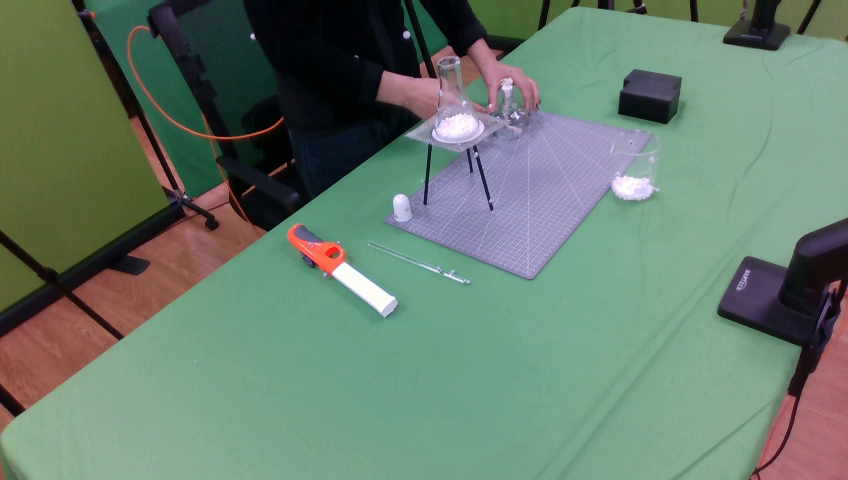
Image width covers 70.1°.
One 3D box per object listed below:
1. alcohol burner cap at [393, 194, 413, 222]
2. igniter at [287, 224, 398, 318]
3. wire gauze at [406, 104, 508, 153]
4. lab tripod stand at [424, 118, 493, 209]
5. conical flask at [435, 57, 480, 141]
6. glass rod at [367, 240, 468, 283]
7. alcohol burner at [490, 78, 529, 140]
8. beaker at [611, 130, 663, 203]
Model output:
[{"bbox_3d":[-0.039,-0.057,1.038,0.034,0.048,0.033,-6,40,5],"label":"alcohol burner cap"},{"bbox_3d":[-0.139,0.042,0.958,0.057,0.025,0.274,-42,49,-19],"label":"igniter"},{"bbox_3d":[0.054,-0.183,0.997,0.120,0.011,0.125,26,53,38],"label":"wire gauze"},{"bbox_3d":[0.061,-0.133,1.038,0.148,0.132,0.147,-6,38,6],"label":"lab tripod stand"},{"bbox_3d":[0.046,-0.225,0.955,0.075,0.122,0.075,-7,39,6],"label":"conical flask"},{"bbox_3d":[-0.014,0.032,0.959,0.198,0.008,0.008,21,49,30],"label":"glass rod"},{"bbox_3d":[0.166,-0.259,1.184,0.078,0.119,0.077,-6,38,5],"label":"alcohol burner"},{"bbox_3d":[0.346,-0.118,0.998,0.084,0.101,0.073,-17,40,-7],"label":"beaker"}]
